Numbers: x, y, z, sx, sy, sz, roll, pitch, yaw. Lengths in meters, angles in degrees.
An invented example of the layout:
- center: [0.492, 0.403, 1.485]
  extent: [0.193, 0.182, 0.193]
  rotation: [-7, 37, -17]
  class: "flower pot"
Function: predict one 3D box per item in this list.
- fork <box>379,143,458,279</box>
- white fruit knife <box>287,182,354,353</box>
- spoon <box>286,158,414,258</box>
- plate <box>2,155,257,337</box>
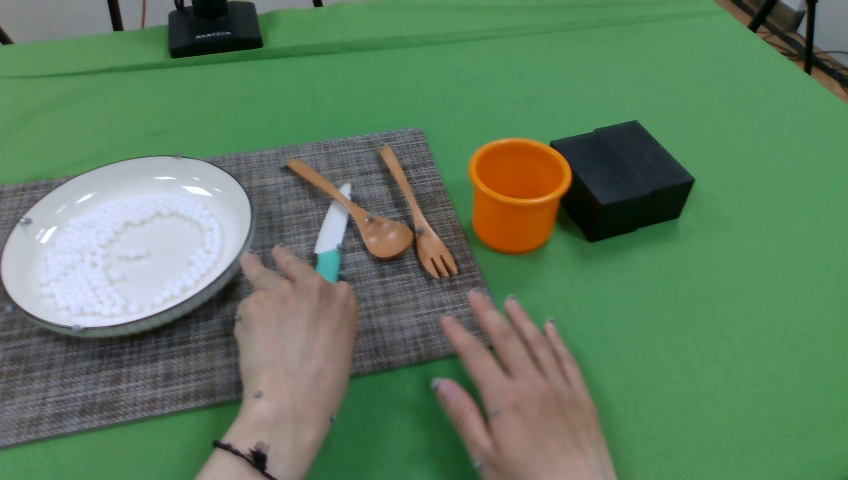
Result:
- center: [-0.012, -0.035, 0.593]
  extent: [0.028, 0.019, 0.205]
  rotation: [-17, 51, -9]
  class: "fork"
- center: [-0.086, 0.014, 0.549]
  extent: [0.027, 0.016, 0.205]
  rotation: [4, 47, 3]
  class: "white fruit knife"
- center: [-0.079, -0.038, 0.592]
  extent: [0.041, 0.022, 0.192]
  rotation: [-41, 58, -17]
  class: "spoon"
- center: [-0.252, 0.003, 0.540]
  extent: [0.209, 0.038, 0.207]
  rotation: [0, 46, 0]
  class: "plate"
